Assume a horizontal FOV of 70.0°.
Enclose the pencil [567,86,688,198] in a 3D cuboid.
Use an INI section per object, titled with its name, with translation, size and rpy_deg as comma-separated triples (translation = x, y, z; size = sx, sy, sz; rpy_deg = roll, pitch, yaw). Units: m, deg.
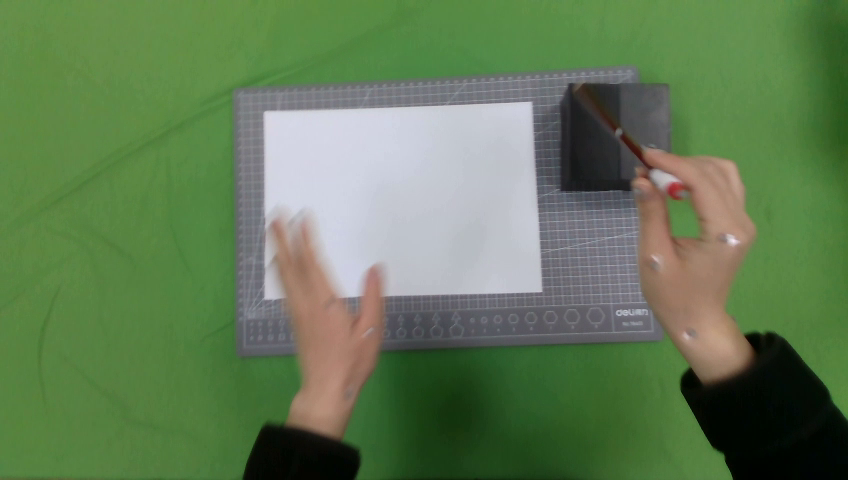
[pencil]
translation = 0.143, -0.082, 0.452
size = 0.012, 0.192, 0.012
rpy_deg = -6, 125, -8
